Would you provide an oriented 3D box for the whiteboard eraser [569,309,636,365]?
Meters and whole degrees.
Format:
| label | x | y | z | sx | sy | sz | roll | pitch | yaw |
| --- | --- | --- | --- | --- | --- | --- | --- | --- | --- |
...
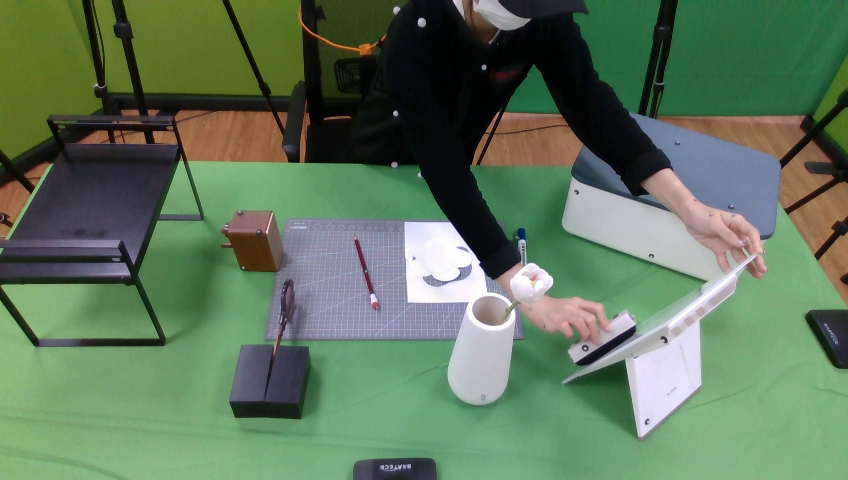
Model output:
| label | x | y | z | sx | sy | sz | roll | pitch | yaw |
| --- | --- | --- | --- | --- | --- | --- | --- | --- | --- |
| whiteboard eraser | 0.284 | 0.155 | 0.956 | 0.113 | 0.056 | 0.041 | -39 | 77 | 15 |

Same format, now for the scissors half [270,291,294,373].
| label | x | y | z | sx | sy | sz | roll | pitch | yaw |
| --- | --- | --- | --- | --- | --- | --- | --- | --- | --- |
| scissors half | -0.237 | 0.151 | 1.009 | 0.013 | 0.040 | 0.174 | 5 | 38 | -2 |

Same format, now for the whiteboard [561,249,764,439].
| label | x | y | z | sx | sy | sz | roll | pitch | yaw |
| --- | --- | --- | --- | --- | --- | --- | --- | --- | --- |
| whiteboard | 0.386 | 0.176 | 0.905 | 0.217 | 0.306 | 0.143 | -26 | 72 | -26 |

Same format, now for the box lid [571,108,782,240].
| label | x | y | z | sx | sy | sz | roll | pitch | yaw |
| --- | --- | --- | --- | --- | --- | --- | --- | --- | --- |
| box lid | 0.491 | -0.139 | 1.168 | 0.370 | 0.015 | 0.262 | 21 | 49 | 15 |

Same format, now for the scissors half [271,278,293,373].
| label | x | y | z | sx | sy | sz | roll | pitch | yaw |
| --- | --- | --- | --- | --- | --- | --- | --- | --- | --- |
| scissors half | -0.236 | 0.137 | 0.994 | 0.013 | 0.040 | 0.174 | 1 | 55 | 2 |

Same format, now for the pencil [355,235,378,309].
| label | x | y | z | sx | sy | sz | roll | pitch | yaw |
| --- | --- | --- | --- | --- | --- | --- | --- | --- | --- |
| pencil | -0.112 | 0.055 | 1.143 | 0.012 | 0.012 | 0.192 | -9 | 45 | -13 |

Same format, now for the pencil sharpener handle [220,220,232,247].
| label | x | y | z | sx | sy | sz | roll | pitch | yaw |
| --- | --- | --- | --- | --- | --- | --- | --- | --- | --- |
| pencil sharpener handle | -0.362 | -0.009 | 1.104 | 0.030 | 0.068 | 0.036 | 1 | 52 | 1 |

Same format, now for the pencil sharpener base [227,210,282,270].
| label | x | y | z | sx | sy | sz | roll | pitch | yaw |
| --- | --- | --- | --- | --- | --- | --- | --- | --- | --- |
| pencil sharpener base | -0.311 | 0.001 | 1.112 | 0.077 | 0.107 | 0.061 | 1 | 47 | 1 |

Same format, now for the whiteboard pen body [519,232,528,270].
| label | x | y | z | sx | sy | sz | roll | pitch | yaw |
| --- | --- | --- | --- | --- | --- | --- | --- | --- | --- |
| whiteboard pen body | 0.194 | 0.034 | 1.179 | 0.017 | 0.017 | 0.140 | 7 | 50 | 2 |

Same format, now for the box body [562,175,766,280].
| label | x | y | z | sx | sy | sz | roll | pitch | yaw |
| --- | --- | --- | --- | --- | --- | --- | --- | --- | --- |
| box body | 0.486 | -0.088 | 1.222 | 0.363 | 0.161 | 0.253 | 20 | 48 | 15 |

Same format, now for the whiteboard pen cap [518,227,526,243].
| label | x | y | z | sx | sy | sz | roll | pitch | yaw |
| --- | --- | --- | --- | --- | --- | --- | --- | --- | --- |
| whiteboard pen cap | 0.197 | -0.009 | 1.220 | 0.018 | 0.018 | 0.033 | 6 | 52 | 2 |

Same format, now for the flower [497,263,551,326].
| label | x | y | z | sx | sy | sz | roll | pitch | yaw |
| --- | --- | --- | --- | --- | --- | --- | --- | --- | --- |
| flower | 0.103 | 0.121 | 0.852 | 0.044 | 0.363 | 0.038 | -1 | 64 | -9 |

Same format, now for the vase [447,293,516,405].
| label | x | y | z | sx | sy | sz | roll | pitch | yaw |
| --- | --- | --- | --- | --- | --- | --- | --- | --- | --- |
| vase | 0.091 | 0.169 | 0.921 | 0.098 | 0.201 | 0.097 | 3 | 47 | -3 |
